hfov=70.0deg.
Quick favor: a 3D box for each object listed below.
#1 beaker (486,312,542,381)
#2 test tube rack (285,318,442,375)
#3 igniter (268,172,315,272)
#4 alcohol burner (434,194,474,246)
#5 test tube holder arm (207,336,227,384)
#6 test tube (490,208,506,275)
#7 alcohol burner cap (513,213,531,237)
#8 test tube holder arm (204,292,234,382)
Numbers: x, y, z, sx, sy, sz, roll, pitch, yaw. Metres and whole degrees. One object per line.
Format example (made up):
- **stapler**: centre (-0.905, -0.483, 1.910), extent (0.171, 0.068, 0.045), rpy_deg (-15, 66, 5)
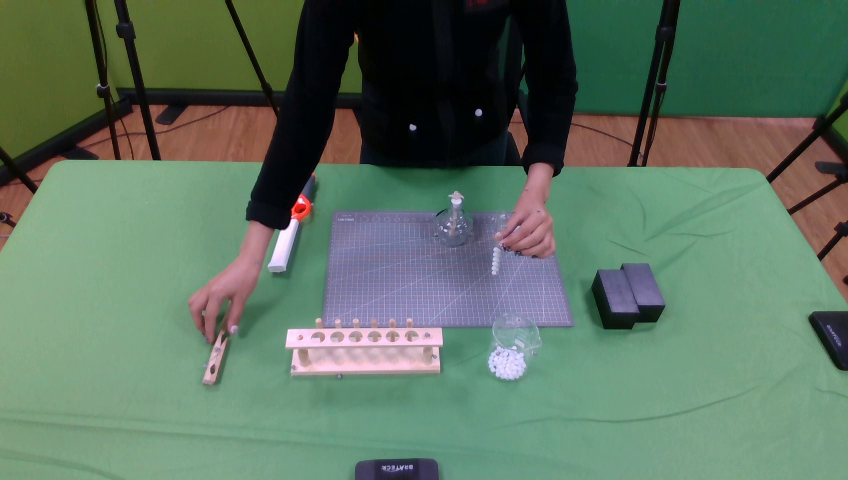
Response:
- **beaker**: centre (0.144, 0.177, 0.985), extent (0.084, 0.101, 0.074), rpy_deg (22, 49, 16)
- **test tube rack**: centre (-0.095, 0.168, 0.986), extent (0.242, 0.085, 0.066), rpy_deg (0, 46, -4)
- **igniter**: centre (-0.264, -0.044, 1.219), extent (0.057, 0.025, 0.275), rpy_deg (-2, 45, 8)
- **alcohol burner**: centre (0.059, -0.046, 1.179), extent (0.078, 0.120, 0.077), rpy_deg (1, 48, -1)
- **test tube holder arm**: centre (-0.338, 0.194, 0.991), extent (0.010, 0.015, 0.087), rpy_deg (29, 38, -27)
- **test tube**: centre (0.122, 0.006, 1.005), extent (0.017, 0.151, 0.017), rpy_deg (-1, 46, 1)
- **alcohol burner cap**: centre (0.200, -0.033, 1.227), extent (0.034, 0.048, 0.033), rpy_deg (2, 45, -1)
- **test tube holder arm**: centre (-0.344, 0.159, 1.019), extent (0.013, 0.015, 0.177), rpy_deg (28, 39, -28)
